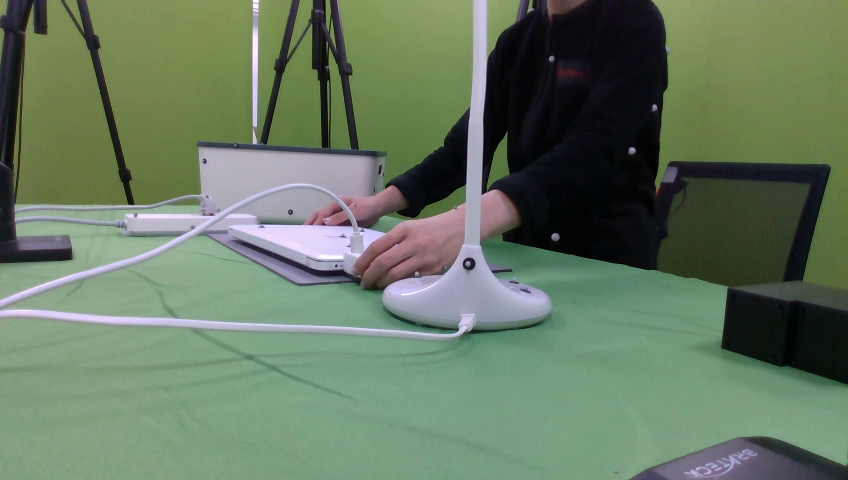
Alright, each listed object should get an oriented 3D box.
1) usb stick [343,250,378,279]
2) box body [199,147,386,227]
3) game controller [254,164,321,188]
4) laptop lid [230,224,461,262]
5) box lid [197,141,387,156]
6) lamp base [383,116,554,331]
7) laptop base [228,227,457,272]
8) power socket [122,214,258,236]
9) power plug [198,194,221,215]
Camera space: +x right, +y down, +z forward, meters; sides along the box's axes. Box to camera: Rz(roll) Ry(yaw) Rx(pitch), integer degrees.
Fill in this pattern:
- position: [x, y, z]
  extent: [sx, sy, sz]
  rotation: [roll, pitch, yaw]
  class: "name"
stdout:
- position: [-0.075, 0.027, 0.687]
  extent: [0.021, 0.027, 0.059]
  rotation: [-11, 10, -31]
  class: "usb stick"
- position: [-0.277, -0.124, 1.335]
  extent: [0.364, 0.160, 0.254]
  rotation: [3, 7, 1]
  class: "box body"
- position: [-0.299, -0.139, 1.319]
  extent: [0.097, 0.051, 0.155]
  rotation: [-2, 6, 17]
  class: "game controller"
- position: [-0.120, 0.000, 0.888]
  extent: [0.243, 0.013, 0.355]
  rotation: [1, 7, -33]
  class: "laptop lid"
- position: [-0.275, -0.198, 1.326]
  extent: [0.372, 0.015, 0.263]
  rotation: [3, 8, 1]
  class: "box lid"
- position: [0.045, -0.019, 0.547]
  extent: [0.161, 0.180, 0.179]
  rotation: [2, 10, -4]
  class: "lamp base"
- position: [-0.122, 0.012, 0.889]
  extent: [0.237, 0.023, 0.352]
  rotation: [2, 6, -35]
  class: "laptop base"
- position: [-0.399, -0.028, 1.049]
  extent: [0.228, 0.032, 0.072]
  rotation: [-3, 8, -34]
  class: "power socket"
- position: [-0.387, -0.055, 1.089]
  extent: [0.035, 0.052, 0.072]
  rotation: [-1, 7, -22]
  class: "power plug"
